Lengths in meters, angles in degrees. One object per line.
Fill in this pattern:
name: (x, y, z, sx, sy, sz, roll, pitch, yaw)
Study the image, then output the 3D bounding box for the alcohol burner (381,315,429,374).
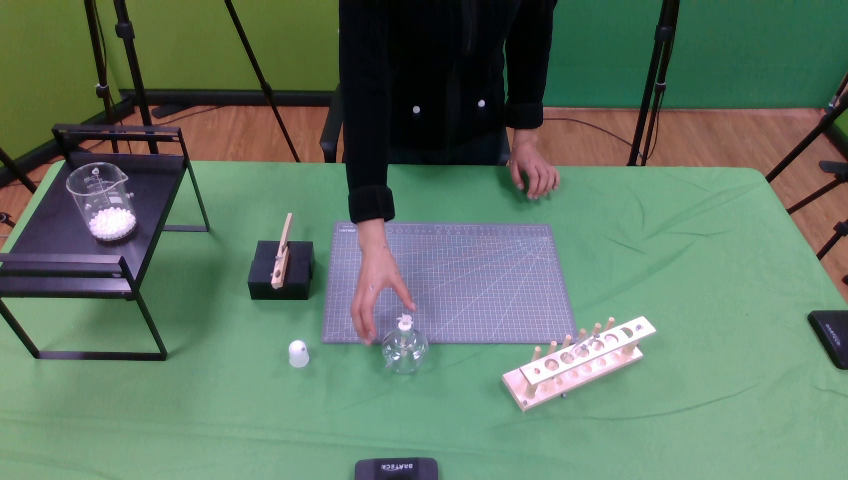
alcohol burner: (-0.031, 0.162, 0.973, 0.078, 0.120, 0.077, 1, 45, -1)

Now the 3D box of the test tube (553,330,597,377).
test tube: (0.226, 0.176, 0.924, 0.017, 0.151, 0.017, 6, 55, -9)

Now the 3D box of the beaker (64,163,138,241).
beaker: (-0.477, -0.055, 0.910, 0.084, 0.101, 0.073, -9, 48, -13)

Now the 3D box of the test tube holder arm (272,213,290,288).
test tube holder arm: (-0.259, 0.014, 1.098, 0.013, 0.015, 0.177, -2, 46, -3)

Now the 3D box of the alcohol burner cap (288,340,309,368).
alcohol burner cap: (-0.207, 0.183, 0.991, 0.034, 0.048, 0.033, 3, 47, -3)

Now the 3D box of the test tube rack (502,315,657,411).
test tube rack: (0.253, 0.186, 0.988, 0.242, 0.085, 0.066, -18, 50, -20)

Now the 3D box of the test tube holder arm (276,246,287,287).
test tube holder arm: (-0.251, 0.046, 1.067, 0.010, 0.015, 0.087, -1, 46, -3)
